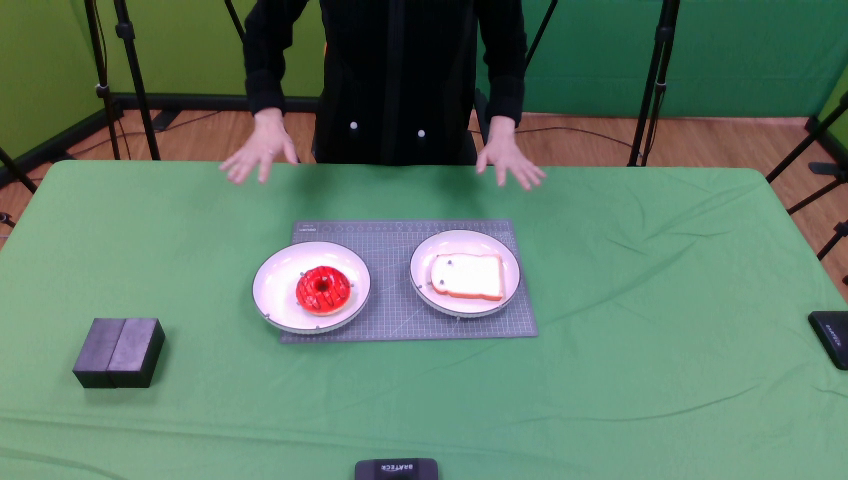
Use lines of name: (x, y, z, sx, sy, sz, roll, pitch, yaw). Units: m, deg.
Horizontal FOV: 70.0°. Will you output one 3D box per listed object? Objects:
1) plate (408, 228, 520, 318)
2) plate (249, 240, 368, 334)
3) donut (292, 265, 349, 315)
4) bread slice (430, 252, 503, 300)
plate: (0.074, 0.063, 1.128, 0.209, 0.038, 0.208, 2, 46, -2)
plate: (-0.204, 0.086, 1.084, 0.208, 0.039, 0.206, 2, 46, -2)
donut: (-0.182, 0.089, 1.067, 0.099, 0.048, 0.098, 3, 50, -4)
bread slice: (0.078, 0.067, 1.125, 0.134, 0.018, 0.106, 1, 45, -3)
